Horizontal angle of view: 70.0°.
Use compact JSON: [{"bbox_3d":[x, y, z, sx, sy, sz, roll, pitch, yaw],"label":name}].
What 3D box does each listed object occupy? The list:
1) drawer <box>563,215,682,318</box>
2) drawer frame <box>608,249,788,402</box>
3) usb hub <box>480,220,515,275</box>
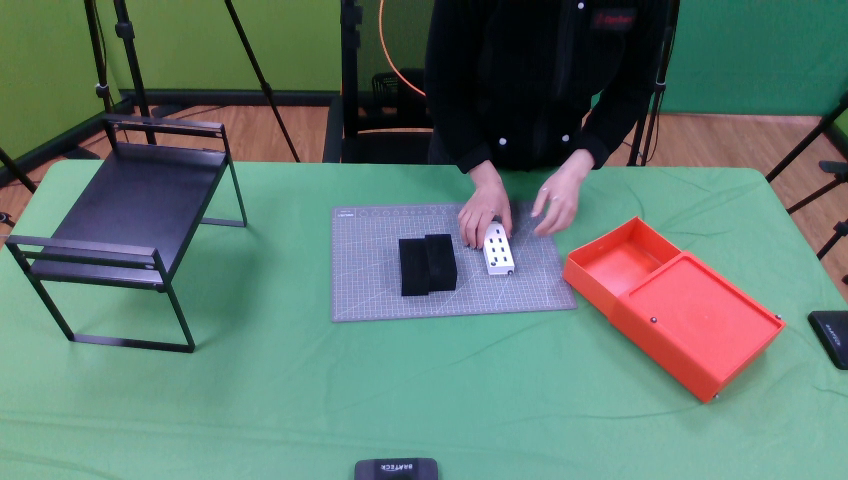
[{"bbox_3d":[0.400,0.071,1.117,0.194,0.073,0.210,-25,53,-26],"label":"drawer"},{"bbox_3d":[0.470,0.139,1.052,0.202,0.083,0.212,-28,55,-27],"label":"drawer frame"},{"bbox_3d":[0.141,0.013,1.187,0.049,0.025,0.124,-3,46,-5],"label":"usb hub"}]
